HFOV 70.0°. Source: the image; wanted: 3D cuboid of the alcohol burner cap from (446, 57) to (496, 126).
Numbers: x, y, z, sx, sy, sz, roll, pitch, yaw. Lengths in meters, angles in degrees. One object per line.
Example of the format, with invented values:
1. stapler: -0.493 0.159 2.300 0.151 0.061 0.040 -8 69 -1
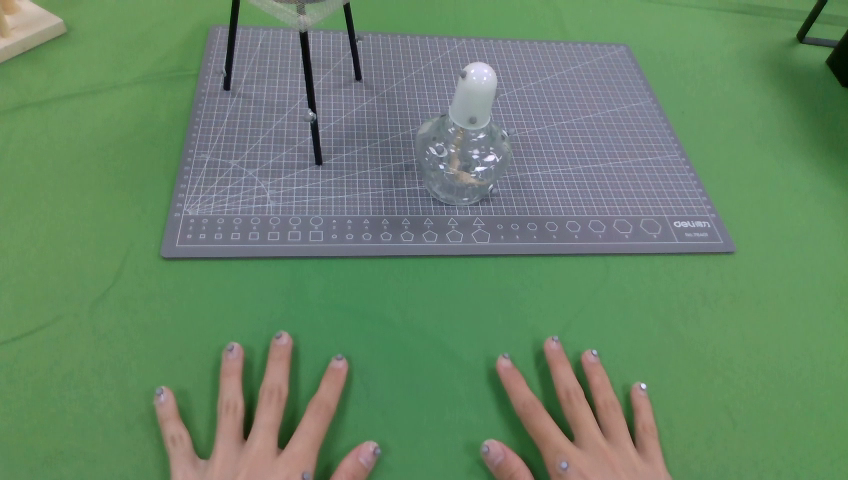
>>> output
1. alcohol burner cap: 0.036 -0.110 0.439 0.034 0.048 0.033 4 55 -6

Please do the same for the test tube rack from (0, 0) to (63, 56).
1. test tube rack: -0.433 -0.173 0.486 0.066 0.086 0.241 30 53 15

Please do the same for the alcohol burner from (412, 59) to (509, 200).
1. alcohol burner: 0.031 -0.088 0.468 0.078 0.120 0.077 5 49 -6

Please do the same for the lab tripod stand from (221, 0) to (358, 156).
1. lab tripod stand: -0.103 -0.164 0.495 0.149 0.132 0.147 5 51 -7

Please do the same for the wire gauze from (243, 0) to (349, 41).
1. wire gauze: -0.098 -0.205 0.444 0.124 0.011 0.121 33 57 12
